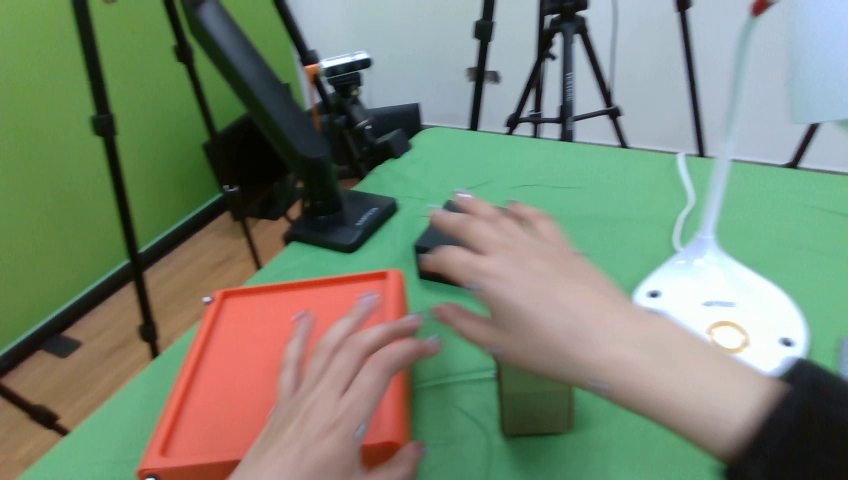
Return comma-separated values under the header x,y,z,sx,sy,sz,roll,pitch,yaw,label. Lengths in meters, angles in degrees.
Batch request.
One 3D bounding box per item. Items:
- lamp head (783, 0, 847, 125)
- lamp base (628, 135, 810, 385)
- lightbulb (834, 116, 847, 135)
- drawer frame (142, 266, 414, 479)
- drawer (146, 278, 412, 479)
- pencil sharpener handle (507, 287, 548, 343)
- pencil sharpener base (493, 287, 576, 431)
x,y,z,sx,sy,sz,roll,pitch,yaw,label
0.251,-0.133,0.332,0.112,0.123,0.112,-15,4,1,lamp head
0.271,0.008,0.552,0.160,0.182,0.177,-7,33,3,lamp base
0.255,-0.107,0.330,0.059,0.108,0.059,-5,11,1,lightbulb
-0.113,0.127,0.549,0.201,0.083,0.211,-8,34,2,drawer frame
-0.111,0.129,0.548,0.194,0.074,0.209,-7,35,3,drawer
0.093,0.063,0.555,0.036,0.068,0.030,0,36,3,pencil sharpener handle
0.094,0.102,0.520,0.061,0.108,0.076,-5,35,6,pencil sharpener base
